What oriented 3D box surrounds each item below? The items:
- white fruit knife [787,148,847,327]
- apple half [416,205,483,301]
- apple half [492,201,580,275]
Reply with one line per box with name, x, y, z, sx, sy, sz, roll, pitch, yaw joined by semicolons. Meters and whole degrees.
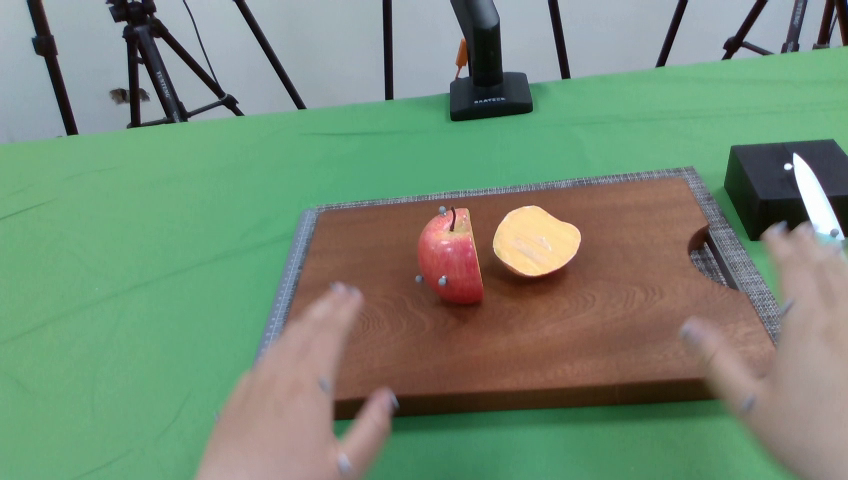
white fruit knife;0.354;-0.004;0.532;0.027;0.016;0.205;-3;55;8
apple half;0.021;0.014;0.535;0.053;0.075;0.080;-12;41;5
apple half;0.101;0.005;0.562;0.081;0.033;0.080;-4;54;6
